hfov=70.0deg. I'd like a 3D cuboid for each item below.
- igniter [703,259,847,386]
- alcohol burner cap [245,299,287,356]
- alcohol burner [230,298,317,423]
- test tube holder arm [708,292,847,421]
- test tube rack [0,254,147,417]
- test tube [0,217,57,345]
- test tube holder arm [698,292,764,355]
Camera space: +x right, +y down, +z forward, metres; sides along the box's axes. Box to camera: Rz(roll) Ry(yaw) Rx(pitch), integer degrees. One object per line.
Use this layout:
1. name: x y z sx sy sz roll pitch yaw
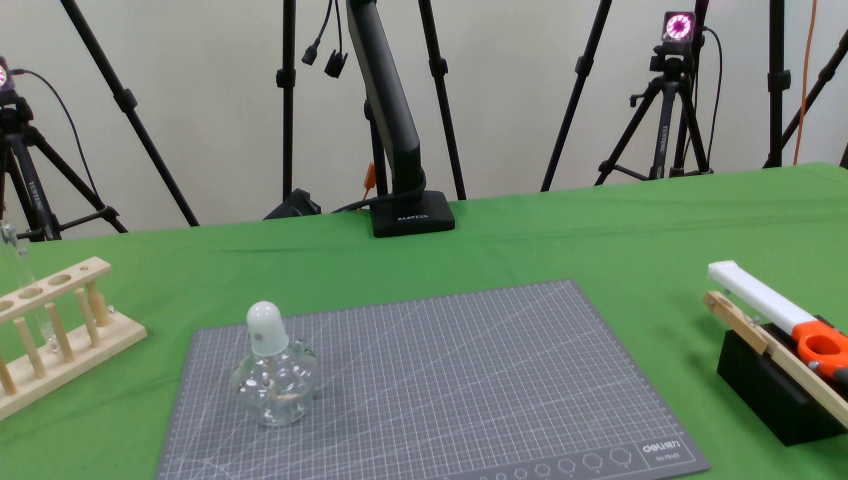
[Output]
1. igniter: 0.346 0.086 0.543 0.057 0.025 0.274 -8 26 -9
2. alcohol burner cap: -0.140 0.074 0.527 0.034 0.048 0.033 -2 33 2
3. alcohol burner: -0.138 0.105 0.545 0.078 0.120 0.077 -2 27 1
4. test tube holder arm: 0.307 0.097 0.532 0.013 0.015 0.176 -7 28 -14
5. test tube rack: -0.410 0.109 0.592 0.066 0.086 0.242 18 35 32
6. test tube: -0.396 0.045 0.605 0.017 0.151 0.017 -1 31 1
7. test tube holder arm: 0.290 0.077 0.569 0.010 0.015 0.087 -6 28 -13
